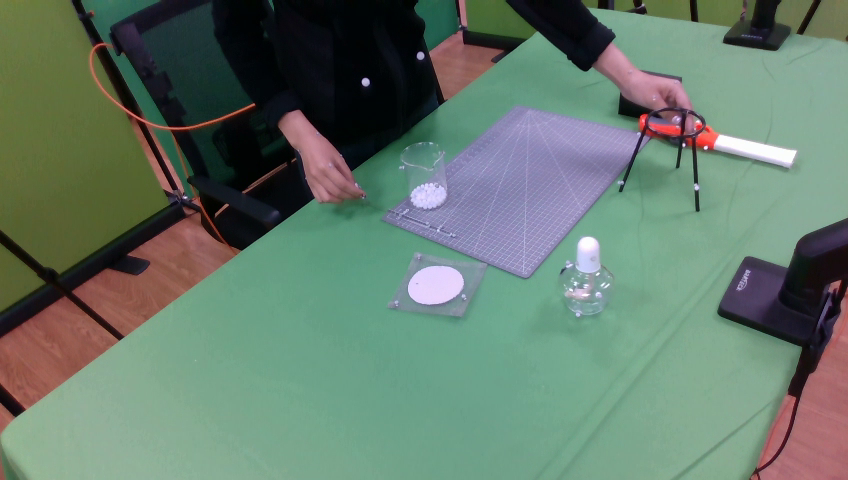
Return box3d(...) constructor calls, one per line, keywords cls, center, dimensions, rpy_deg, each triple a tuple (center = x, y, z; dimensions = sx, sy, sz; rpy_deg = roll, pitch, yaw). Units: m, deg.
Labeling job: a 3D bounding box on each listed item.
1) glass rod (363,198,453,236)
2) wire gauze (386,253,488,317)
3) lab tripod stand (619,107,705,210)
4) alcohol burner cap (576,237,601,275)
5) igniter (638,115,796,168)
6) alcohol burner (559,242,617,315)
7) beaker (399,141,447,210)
box3d(cls="glass rod", center=(-0.031, -0.041, 1.041), dimensions=(0.198, 0.008, 0.008), rpy_deg=(22, 50, 31))
box3d(cls="wire gauze", center=(0.021, 0.067, 0.910), dimensions=(0.121, 0.011, 0.125), rpy_deg=(9, 41, 20))
box3d(cls="lab tripod stand", center=(0.400, -0.135, 0.979), dimensions=(0.148, 0.132, 0.147), rpy_deg=(-4, 41, 4))
box3d(cls="alcohol burner cap", center=(0.217, 0.018, 0.792), dimensions=(0.034, 0.048, 0.033), rpy_deg=(-7, 35, 5))
box3d(cls="igniter", center=(0.517, -0.181, 1.093), dimensions=(0.274, 0.025, 0.057), rpy_deg=(23, 65, 32))
box3d(cls="alcohol burner", center=(0.222, 0.045, 0.816), dimensions=(0.078, 0.119, 0.077), rpy_deg=(-4, 42, 4))
box3d(cls="beaker", center=(0.003, -0.108, 1.043), dimensions=(0.074, 0.101, 0.083), rpy_deg=(-19, 42, -11))
